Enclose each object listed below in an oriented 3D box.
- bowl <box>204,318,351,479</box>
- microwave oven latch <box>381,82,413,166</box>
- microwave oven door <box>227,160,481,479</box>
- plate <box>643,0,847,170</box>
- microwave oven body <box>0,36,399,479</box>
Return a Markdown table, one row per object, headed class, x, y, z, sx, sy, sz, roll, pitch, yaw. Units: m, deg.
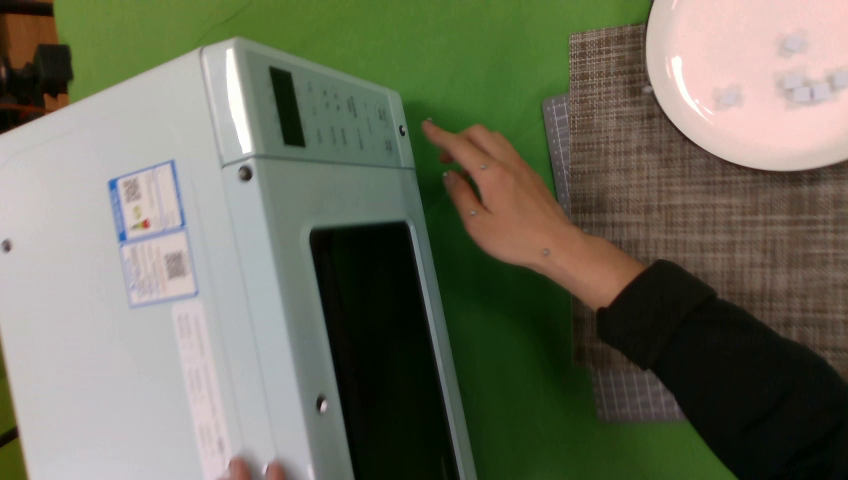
| class | x | y | z | sx | sy | sz | roll | pitch | yaw |
| --- | --- | --- | --- | --- | --- | --- | --- | --- | --- |
| bowl | -0.125 | 0.142 | 0.581 | 0.150 | 0.077 | 0.151 | 2 | 96 | 23 |
| microwave oven latch | -0.035 | -0.110 | 0.584 | 0.030 | 0.029 | 0.079 | -11 | 92 | 25 |
| microwave oven door | -0.036 | 0.113 | 0.498 | 0.039 | 0.244 | 0.355 | -12 | 91 | 25 |
| plate | 0.276 | -0.155 | 0.453 | 0.208 | 0.038 | 0.209 | 2 | 95 | 25 |
| microwave oven body | -0.172 | 0.098 | 0.563 | 0.325 | 0.261 | 0.441 | -11 | 91 | 24 |
